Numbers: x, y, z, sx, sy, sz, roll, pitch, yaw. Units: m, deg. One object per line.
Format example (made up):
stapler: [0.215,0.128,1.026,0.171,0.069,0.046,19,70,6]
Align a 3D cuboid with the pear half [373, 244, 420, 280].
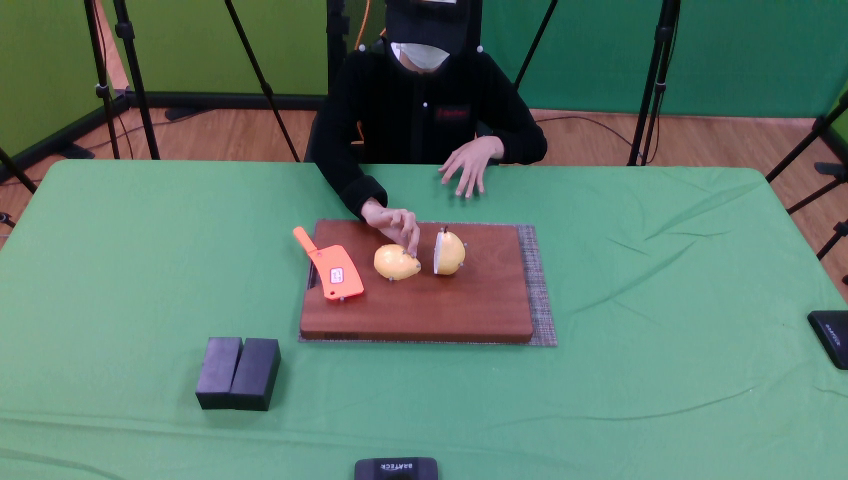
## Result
pear half: [-0.049,0.038,1.100,0.088,0.031,0.070,12,72,-5]

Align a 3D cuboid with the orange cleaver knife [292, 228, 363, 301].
orange cleaver knife: [-0.181,0.037,1.114,0.077,0.012,0.210,-23,48,-20]

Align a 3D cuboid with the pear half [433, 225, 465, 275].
pear half: [0.046,0.014,1.089,0.056,0.110,0.076,-3,50,-7]
